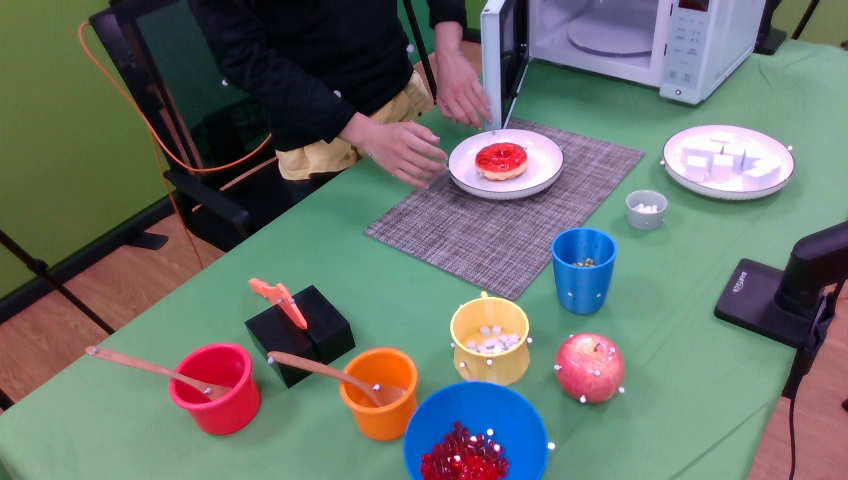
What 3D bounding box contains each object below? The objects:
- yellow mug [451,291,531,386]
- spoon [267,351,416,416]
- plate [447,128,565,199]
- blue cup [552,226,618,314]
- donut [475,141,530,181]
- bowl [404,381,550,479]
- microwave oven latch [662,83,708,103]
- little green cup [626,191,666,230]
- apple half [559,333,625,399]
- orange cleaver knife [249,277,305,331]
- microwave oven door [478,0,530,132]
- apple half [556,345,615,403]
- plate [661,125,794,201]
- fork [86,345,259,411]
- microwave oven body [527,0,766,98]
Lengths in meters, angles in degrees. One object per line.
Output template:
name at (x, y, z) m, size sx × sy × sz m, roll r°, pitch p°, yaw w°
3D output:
yellow mug at (0.085, 0.120, 0.786) m, size 0.100 × 0.064 × 0.130 m, roll -7°, pitch 39°, yaw 1°
spoon at (-0.090, 0.162, 0.699) m, size 0.021 × 0.195 × 0.041 m, roll -44°, pitch 30°, yaw 27°
plate at (0.147, -0.134, 1.092) m, size 0.209 × 0.038 × 0.208 m, roll -4°, pitch 40°, yaw 4°
blue cup at (0.218, 0.047, 0.826) m, size 0.092 × 0.101 × 0.092 m, roll -6°, pitch 40°, yaw 5°
donut at (0.141, -0.145, 1.088) m, size 0.099 × 0.048 × 0.098 m, roll -6°, pitch 37°, yaw 5°
bowl at (0.058, 0.235, 0.645) m, size 0.151 × 0.077 × 0.150 m, roll -4°, pitch 39°, yaw 4°
microwave oven latch at (0.517, -0.296, 1.204) m, size 0.078 × 0.029 × 0.030 m, roll 27°, pitch 52°, yaw 35°
little green cup at (0.352, -0.046, 0.963) m, size 0.061 × 0.039 × 0.061 m, roll -4°, pitch 40°, yaw 4°
apple half at (0.209, 0.147, 0.730) m, size 0.080 × 0.075 × 0.053 m, roll 26°, pitch 48°, yaw 38°
orange cleaver knife at (-0.210, 0.088, 0.855) m, size 0.012 × 0.077 × 0.210 m, roll -28°, pitch 15°, yaw -25°
microwave oven door at (0.169, -0.408, 1.232) m, size 0.039 × 0.245 × 0.355 m, roll 6°, pitch 42°, yaw 16°
apple half at (0.181, 0.167, 0.709) m, size 0.080 × 0.081 × 0.033 m, roll 29°, pitch 50°, yaw 35°
plate at (0.513, -0.128, 1.035) m, size 0.207 × 0.039 × 0.206 m, roll -4°, pitch 40°, yaw 4°
fork at (-0.298, 0.166, 0.728) m, size 0.209 × 0.018 × 0.028 m, roll 28°, pitch 47°, yaw -23°
microwave oven body at (0.472, -0.513, 1.317) m, size 0.438 × 0.261 × 0.327 m, roll 26°, pitch 51°, yaw 34°
